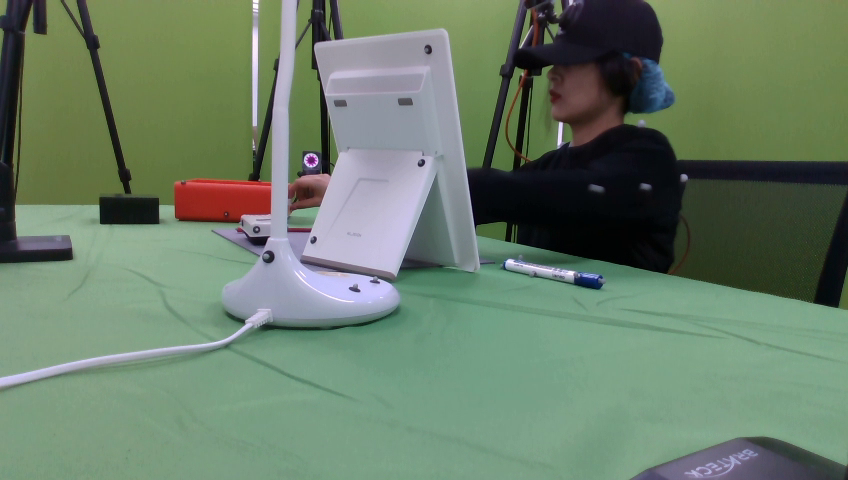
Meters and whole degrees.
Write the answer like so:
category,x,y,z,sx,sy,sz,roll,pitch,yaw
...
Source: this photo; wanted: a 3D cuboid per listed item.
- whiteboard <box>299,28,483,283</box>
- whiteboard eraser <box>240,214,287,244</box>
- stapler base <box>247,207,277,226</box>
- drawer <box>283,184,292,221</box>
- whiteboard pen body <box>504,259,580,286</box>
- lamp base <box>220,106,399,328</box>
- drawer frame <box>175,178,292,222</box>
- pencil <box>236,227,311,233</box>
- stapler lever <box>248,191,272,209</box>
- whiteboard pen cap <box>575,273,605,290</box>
category,x,y,z,sx,sy,sz,roll,pitch,yaw
whiteboard,-0.075,-0.082,0.741,0.216,0.305,0.144,9,30,38
whiteboard eraser,-0.256,-0.018,0.958,0.056,0.042,0.112,0,8,-25
stapler base,-0.351,-0.054,1.310,0.041,0.024,0.130,-2,12,-2
drawer,-0.398,-0.086,1.313,0.212,0.073,0.194,1,8,-9
whiteboard pen body,0.157,0.042,0.764,0.017,0.017,0.140,-4,11,-41
lamp base,-0.101,-0.023,0.531,0.160,0.180,0.179,4,10,10
drawer frame,-0.402,-0.087,1.311,0.214,0.082,0.201,1,8,-9
pencil,-0.239,-0.017,1.093,0.195,0.012,0.012,1,7,-27
stapler lever,-0.353,-0.086,1.306,0.027,0.040,0.118,-2,5,-2
whiteboard pen cap,0.197,0.047,0.719,0.018,0.018,0.033,-4,11,-41
